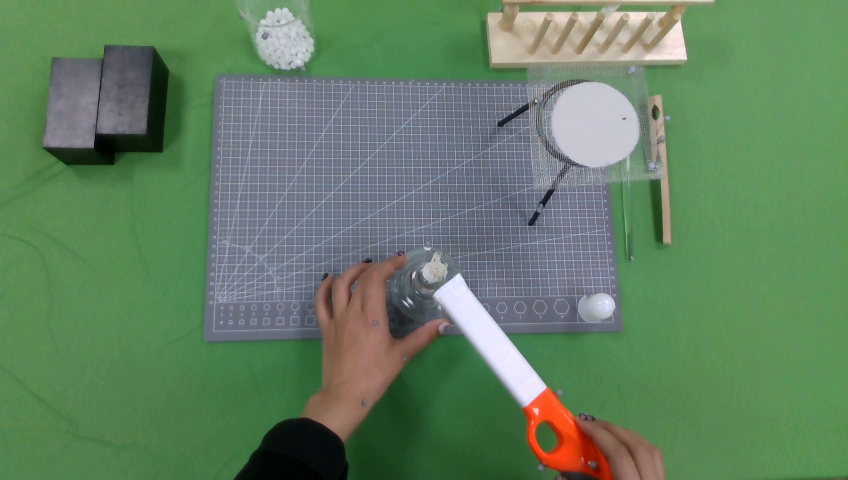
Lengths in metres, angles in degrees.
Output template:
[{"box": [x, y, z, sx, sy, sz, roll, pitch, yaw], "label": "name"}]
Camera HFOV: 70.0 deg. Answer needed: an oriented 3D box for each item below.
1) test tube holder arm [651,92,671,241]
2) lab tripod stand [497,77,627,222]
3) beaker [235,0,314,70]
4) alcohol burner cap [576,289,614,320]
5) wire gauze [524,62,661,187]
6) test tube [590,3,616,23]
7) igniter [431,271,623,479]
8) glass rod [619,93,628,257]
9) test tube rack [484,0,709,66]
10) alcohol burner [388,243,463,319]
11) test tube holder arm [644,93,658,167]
[{"box": [0.278, -0.088, 0.711, 0.013, 0.015, 0.177, -8, 78, 28], "label": "test tube holder arm"}, {"box": [0.141, -0.103, 0.640, 0.148, 0.132, 0.147, 1, 78, -3], "label": "lab tripod stand"}, {"box": [-0.161, -0.239, 0.659, 0.084, 0.100, 0.073, 17, 76, -1], "label": "beaker"}, {"box": [0.188, 0.068, 0.656, 0.034, 0.048, 0.033, 1, 77, -6], "label": "alcohol burner cap"}, {"box": [0.158, -0.113, 0.575, 0.121, 0.011, 0.124, -2, 78, -5], "label": "wire gauze"}, {"box": [0.221, -0.283, 0.663, 0.017, 0.150, 0.017, 3, 77, -11], "label": "test tube"}, {"box": [0.102, 0.146, 0.538, 0.057, 0.025, 0.276, -37, 87, -15], "label": "igniter"}, {"box": [0.235, -0.078, 0.711, 0.008, 0.008, 0.199, 3, 81, -5], "label": "glass rod"}, {"box": [0.198, -0.256, 0.705, 0.243, 0.085, 0.066, -3, 78, -6], "label": "test tube rack"}, {"box": [0.003, 0.038, 0.607, 0.078, 0.119, 0.077, 1, 75, -4], "label": "alcohol burner"}, {"box": [0.271, -0.131, 0.722, 0.010, 0.015, 0.087, -7, 78, 28], "label": "test tube holder arm"}]
